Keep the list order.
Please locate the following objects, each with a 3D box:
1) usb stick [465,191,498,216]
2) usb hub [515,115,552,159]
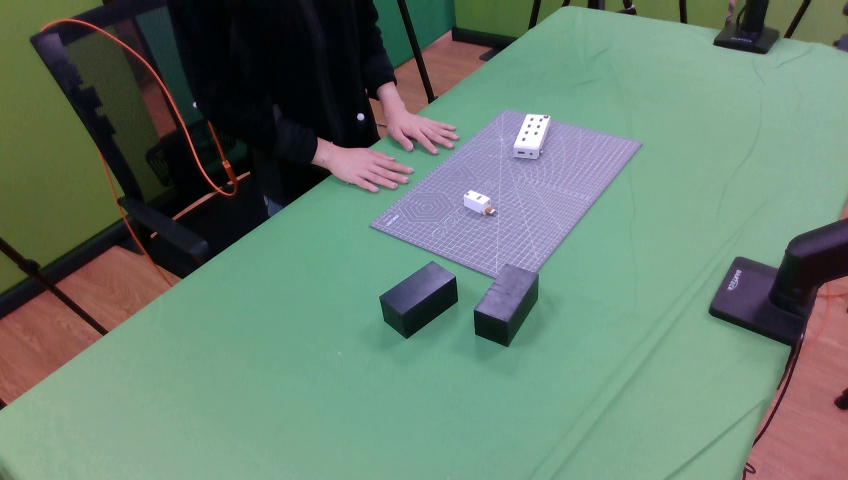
[{"bbox_3d":[0.099,-0.061,1.026,0.058,0.027,0.021,30,51,33],"label":"usb stick"},{"bbox_3d":[0.213,-0.201,1.173,0.049,0.025,0.125,9,43,18],"label":"usb hub"}]
